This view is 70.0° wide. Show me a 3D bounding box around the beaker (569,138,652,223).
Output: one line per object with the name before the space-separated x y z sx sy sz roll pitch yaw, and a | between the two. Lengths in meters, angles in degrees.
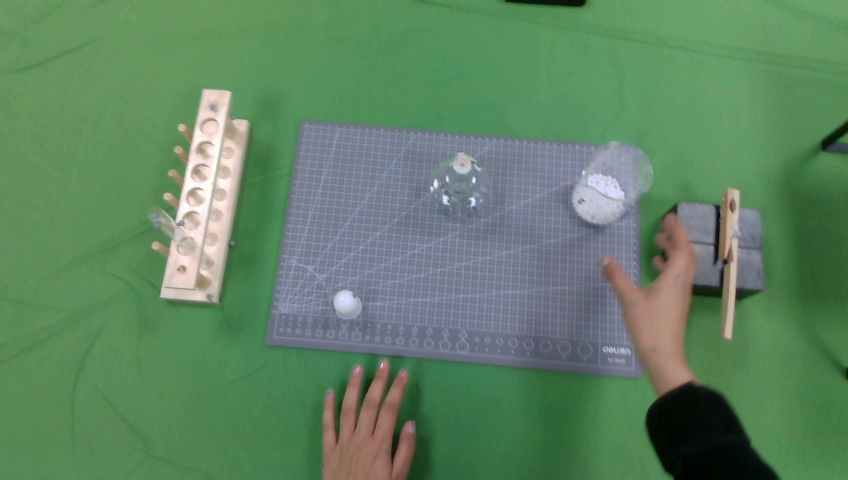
beaker | 0.217 -0.066 0.733 0.084 0.101 0.073 -17 74 -5

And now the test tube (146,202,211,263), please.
test tube | -0.265 -0.004 0.664 0.017 0.151 0.017 0 69 1

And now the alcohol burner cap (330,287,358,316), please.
alcohol burner cap | -0.097 0.070 0.717 0.034 0.048 0.033 1 74 -2

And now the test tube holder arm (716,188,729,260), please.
test tube holder arm | 0.354 -0.019 0.717 0.010 0.015 0.087 7 75 3

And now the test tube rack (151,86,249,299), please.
test tube rack | -0.275 -0.057 0.731 0.067 0.085 0.241 5 74 1

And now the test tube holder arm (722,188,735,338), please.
test tube holder arm | 0.354 0.025 0.706 0.013 0.015 0.177 6 75 2

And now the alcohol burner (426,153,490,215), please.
alcohol burner | 0.041 -0.074 0.724 0.078 0.120 0.077 0 74 1
